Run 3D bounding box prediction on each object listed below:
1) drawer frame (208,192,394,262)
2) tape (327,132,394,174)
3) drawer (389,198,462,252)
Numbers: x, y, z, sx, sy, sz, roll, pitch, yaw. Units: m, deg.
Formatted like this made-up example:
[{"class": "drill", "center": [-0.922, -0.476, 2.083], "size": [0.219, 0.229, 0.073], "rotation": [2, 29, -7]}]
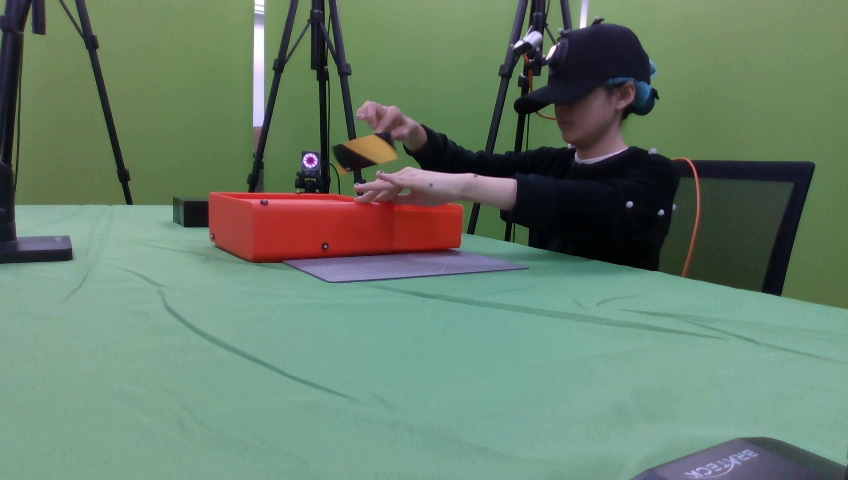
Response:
[{"class": "drawer frame", "center": [-0.185, -0.026, 0.900], "size": [0.215, 0.082, 0.200], "rotation": [-3, 10, -35]}, {"class": "tape", "center": [-0.114, -0.156, 1.082], "size": [0.117, 0.052, 0.117], "rotation": [-13, 9, 2]}, {"class": "drawer", "center": [-0.078, -0.027, 0.974], "size": [0.213, 0.073, 0.193], "rotation": [-2, 10, -34]}]
